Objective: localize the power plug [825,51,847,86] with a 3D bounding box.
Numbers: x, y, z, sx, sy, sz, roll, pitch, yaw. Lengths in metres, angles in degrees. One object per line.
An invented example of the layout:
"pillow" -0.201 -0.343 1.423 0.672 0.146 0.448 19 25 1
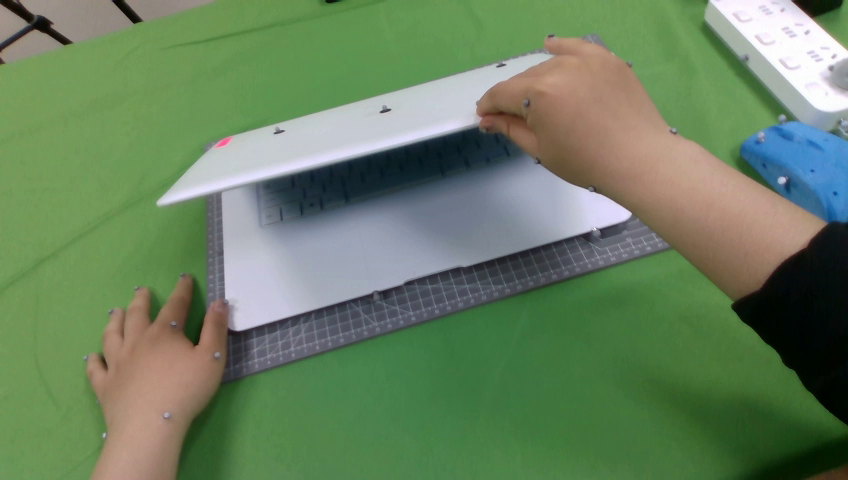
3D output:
"power plug" 0.393 -0.151 0.530 0.072 0.053 0.035 -6 54 6

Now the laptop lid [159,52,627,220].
"laptop lid" -0.034 -0.107 0.531 0.357 0.013 0.239 -16 24 0

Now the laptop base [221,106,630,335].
"laptop base" -0.019 -0.054 0.575 0.354 0.023 0.233 -17 54 -1

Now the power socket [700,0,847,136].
"power socket" 0.352 -0.187 0.593 0.072 0.033 0.224 -16 51 0

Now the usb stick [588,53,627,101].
"usb stick" 0.184 -0.170 0.615 0.021 0.027 0.058 -18 50 1

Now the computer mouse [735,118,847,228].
"computer mouse" 0.318 -0.063 0.500 0.063 0.041 0.116 -22 47 -3
